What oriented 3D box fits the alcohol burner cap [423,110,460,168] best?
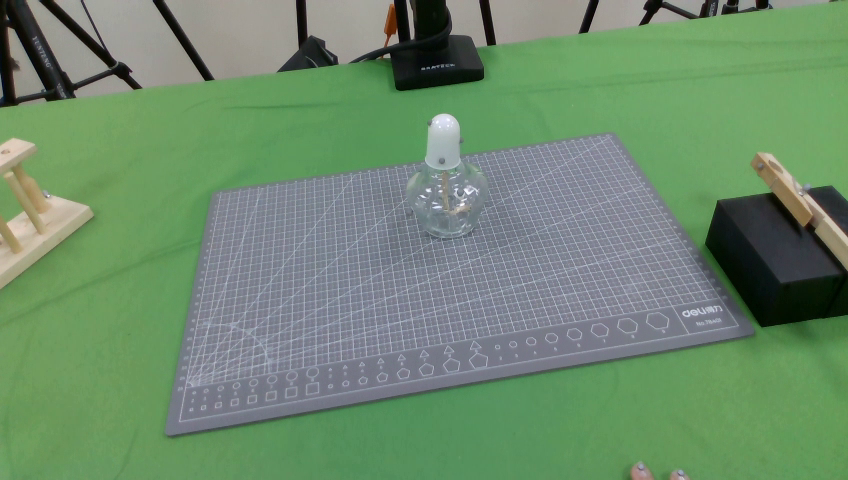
[{"bbox_3d":[0.016,-0.090,0.529,0.034,0.048,0.033,1,42,0],"label":"alcohol burner cap"}]

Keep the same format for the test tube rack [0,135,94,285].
[{"bbox_3d":[-0.436,0.008,0.551,0.066,0.086,0.241,15,46,21],"label":"test tube rack"}]

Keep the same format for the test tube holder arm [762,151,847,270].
[{"bbox_3d":[0.307,-0.015,0.473,0.013,0.015,0.176,-1,42,-8],"label":"test tube holder arm"}]

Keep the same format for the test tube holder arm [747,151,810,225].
[{"bbox_3d":[0.296,-0.045,0.504,0.010,0.015,0.087,-1,42,-7],"label":"test tube holder arm"}]

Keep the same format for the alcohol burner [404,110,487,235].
[{"bbox_3d":[0.018,-0.064,0.554,0.078,0.120,0.077,-4,41,4],"label":"alcohol burner"}]
